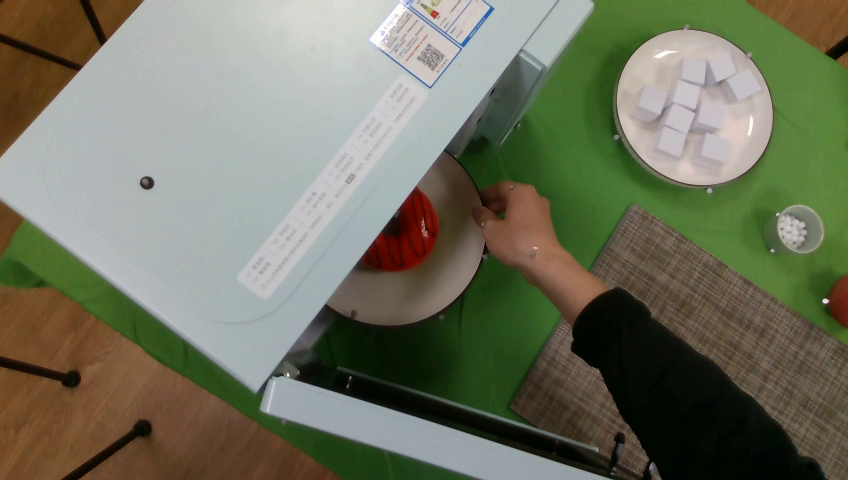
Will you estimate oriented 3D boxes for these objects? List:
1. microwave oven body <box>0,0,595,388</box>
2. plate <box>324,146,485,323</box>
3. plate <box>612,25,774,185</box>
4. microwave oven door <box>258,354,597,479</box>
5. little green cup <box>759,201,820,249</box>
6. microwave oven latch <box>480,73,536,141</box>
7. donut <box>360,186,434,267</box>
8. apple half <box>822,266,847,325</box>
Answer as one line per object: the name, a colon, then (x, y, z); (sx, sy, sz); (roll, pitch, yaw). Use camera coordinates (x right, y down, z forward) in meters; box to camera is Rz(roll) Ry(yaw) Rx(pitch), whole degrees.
microwave oven body: (-0.115, -0.122, 0.614); (0.326, 0.260, 0.441); (37, 82, 0)
plate: (-0.041, -0.016, 0.642); (0.209, 0.038, 0.208); (0, 84, -2)
plate: (0.339, -0.169, 0.775); (0.208, 0.039, 0.207); (1, 82, -5)
microwave oven door: (0.036, 0.184, 0.582); (0.356, 0.244, 0.039); (18, 80, -2)
little green cup: (0.459, -0.017, 0.765); (0.061, 0.039, 0.061); (1, 82, -4)
microwave oven latch: (0.102, -0.160, 0.735); (0.030, 0.029, 0.079); (40, 82, 1)
donut: (-0.038, -0.020, 0.631); (0.099, 0.048, 0.099); (0, 86, 1)
apple half: (0.524, 0.067, 0.743); (0.053, 0.075, 0.080); (7, 85, 1)
